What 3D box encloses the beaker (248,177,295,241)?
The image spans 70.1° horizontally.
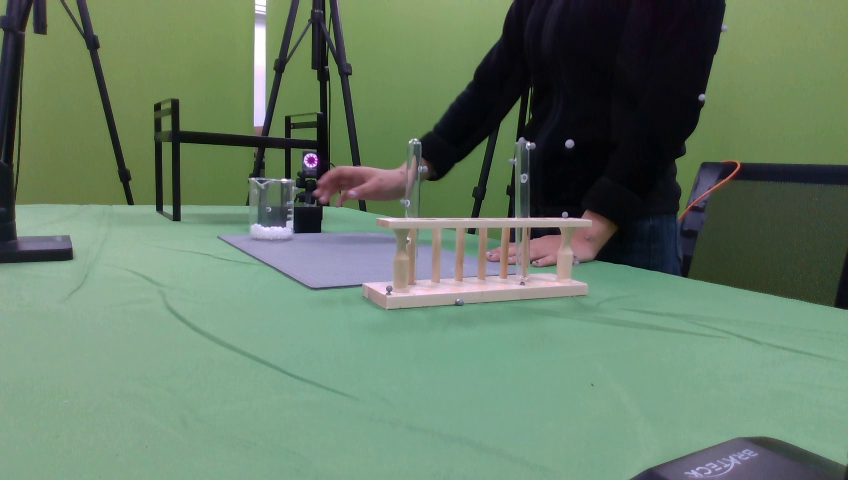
[{"bbox_3d":[-0.252,-0.051,0.992,0.074,0.100,0.084,3,9,6],"label":"beaker"}]

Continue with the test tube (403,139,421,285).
[{"bbox_3d":[-0.013,-0.027,0.618,0.017,0.150,0.017,2,7,0],"label":"test tube"}]

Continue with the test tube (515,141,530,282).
[{"bbox_3d":[0.103,-0.028,0.636,0.017,0.150,0.017,-2,12,1],"label":"test tube"}]

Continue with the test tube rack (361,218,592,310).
[{"bbox_3d":[0.060,0.018,0.640,0.243,0.085,0.066,-1,8,-27],"label":"test tube rack"}]
